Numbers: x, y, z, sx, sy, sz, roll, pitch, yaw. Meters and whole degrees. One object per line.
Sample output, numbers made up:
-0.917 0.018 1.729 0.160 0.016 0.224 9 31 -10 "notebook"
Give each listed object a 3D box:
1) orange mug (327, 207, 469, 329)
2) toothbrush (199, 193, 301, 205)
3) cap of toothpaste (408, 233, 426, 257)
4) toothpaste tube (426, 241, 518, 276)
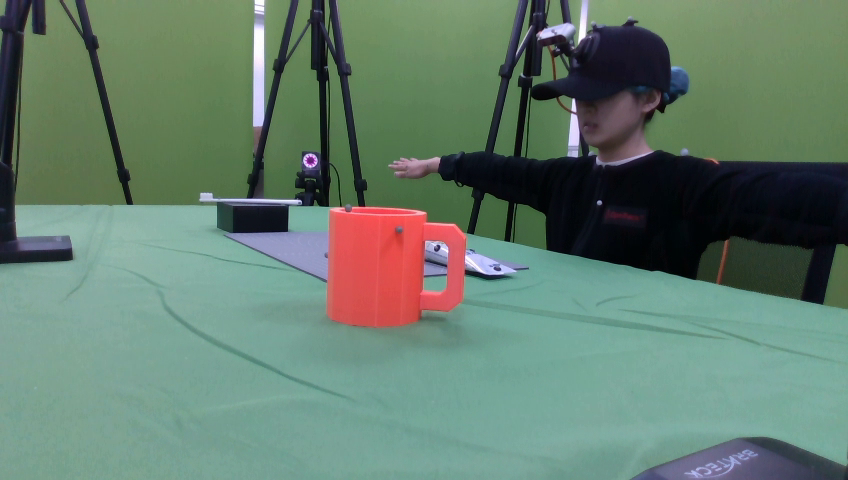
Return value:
-0.024 0.021 0.535 0.126 0.100 0.083 -1 6 8 "orange mug"
-0.323 -0.076 1.129 0.182 0.016 0.014 2 5 -15 "toothbrush"
-0.008 0.008 0.864 0.011 0.037 0.037 7 9 38 "cap of toothpaste"
0.045 0.024 0.805 0.055 0.034 0.164 -10 18 -41 "toothpaste tube"
